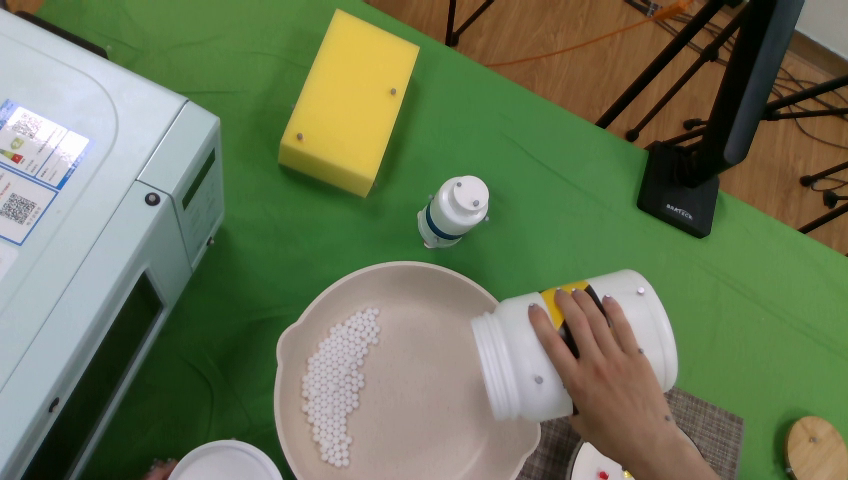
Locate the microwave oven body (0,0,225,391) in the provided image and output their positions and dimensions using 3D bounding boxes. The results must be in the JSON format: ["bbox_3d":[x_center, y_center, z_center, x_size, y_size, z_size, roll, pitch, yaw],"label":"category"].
[{"bbox_3d":[-0.415,0.044,0.490,0.327,0.260,0.439,26,69,-9],"label":"microwave oven body"}]

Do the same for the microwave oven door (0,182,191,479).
[{"bbox_3d":[-0.299,0.141,0.492,0.039,0.244,0.354,25,68,-9],"label":"microwave oven door"}]

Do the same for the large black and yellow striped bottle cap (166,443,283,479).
[{"bbox_3d":[-0.193,0.241,0.580,0.115,0.114,0.019,-10,115,-20],"label":"large black and yellow striped bottle cap"}]

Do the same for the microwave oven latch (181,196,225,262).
[{"bbox_3d":[-0.248,-0.017,0.667,0.030,0.029,0.079,28,68,-8],"label":"microwave oven latch"}]

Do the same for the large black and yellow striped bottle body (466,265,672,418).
[{"bbox_3d":[0.145,0.109,0.631,0.184,0.131,0.130,-14,77,1],"label":"large black and yellow striped bottle body"}]

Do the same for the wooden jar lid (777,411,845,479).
[{"bbox_3d":[0.545,0.298,0.856,0.109,0.021,0.108,5,74,-15],"label":"wooden jar lid"}]

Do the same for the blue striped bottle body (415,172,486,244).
[{"bbox_3d":[0.035,-0.041,0.739,0.063,0.121,0.062,5,72,-16],"label":"blue striped bottle body"}]

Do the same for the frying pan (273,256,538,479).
[{"bbox_3d":[-0.052,0.250,0.631,0.307,0.103,0.484,24,60,-7],"label":"frying pan"}]

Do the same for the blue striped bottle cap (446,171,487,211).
[{"bbox_3d":[0.049,-0.057,0.693,0.045,0.020,0.044,5,74,-16],"label":"blue striped bottle cap"}]

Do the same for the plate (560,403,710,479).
[{"bbox_3d":[0.258,0.310,0.747,0.210,0.038,0.208,5,73,-16],"label":"plate"}]

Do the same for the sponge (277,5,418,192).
[{"bbox_3d":[-0.095,-0.180,0.771,0.118,0.061,0.205,20,69,-10],"label":"sponge"}]
